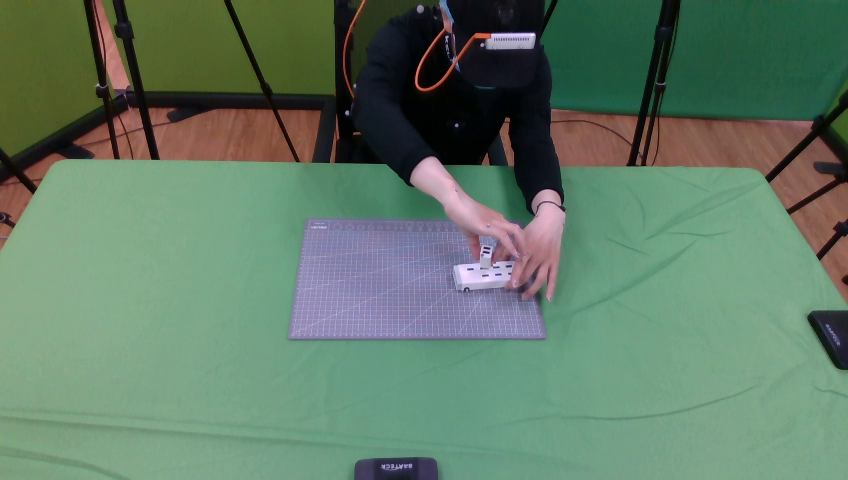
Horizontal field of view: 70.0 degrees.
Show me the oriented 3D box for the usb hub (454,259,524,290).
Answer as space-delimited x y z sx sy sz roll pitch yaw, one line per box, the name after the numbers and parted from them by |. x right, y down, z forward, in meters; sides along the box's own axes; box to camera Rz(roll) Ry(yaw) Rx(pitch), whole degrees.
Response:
0.121 0.064 1.133 0.125 0.025 0.049 -4 47 -7 | usb hub

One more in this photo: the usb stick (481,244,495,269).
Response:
0.116 0.032 1.101 0.021 0.059 0.027 6 59 11 | usb stick
